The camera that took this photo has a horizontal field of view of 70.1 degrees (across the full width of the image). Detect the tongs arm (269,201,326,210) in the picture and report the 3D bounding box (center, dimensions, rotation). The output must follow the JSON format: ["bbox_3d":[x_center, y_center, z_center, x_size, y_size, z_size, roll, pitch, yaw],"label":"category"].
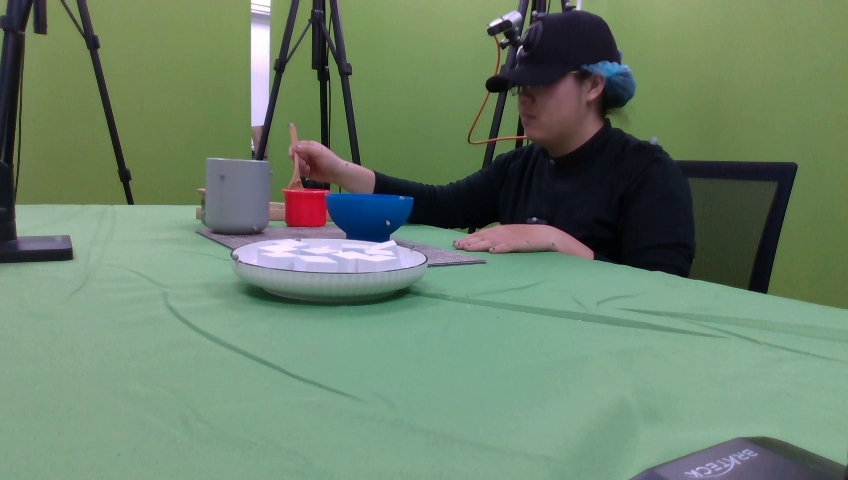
[{"bbox_3d":[-0.308,-0.073,1.410,0.386,0.026,0.050,3,8,-6],"label":"tongs arm"}]

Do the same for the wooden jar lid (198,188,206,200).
[{"bbox_3d":[-0.382,-0.088,1.175,0.108,0.020,0.108,3,8,0],"label":"wooden jar lid"}]

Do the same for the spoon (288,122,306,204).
[{"bbox_3d":[-0.263,-0.159,1.240,0.042,0.193,0.021,10,-25,-38],"label":"spoon"}]

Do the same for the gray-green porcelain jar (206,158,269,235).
[{"bbox_3d":[-0.323,-0.076,1.048,0.106,0.126,0.106,3,7,0],"label":"gray-green porcelain jar"}]

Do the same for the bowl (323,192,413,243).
[{"bbox_3d":[-0.094,-0.037,1.015,0.151,0.077,0.151,2,7,0],"label":"bowl"}]

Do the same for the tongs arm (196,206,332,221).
[{"bbox_3d":[-0.294,-0.057,1.330,0.389,0.028,0.028,0,6,-20],"label":"tongs arm"}]

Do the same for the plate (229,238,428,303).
[{"bbox_3d":[-0.099,0.032,0.651,0.209,0.038,0.209,3,8,0],"label":"plate"}]
